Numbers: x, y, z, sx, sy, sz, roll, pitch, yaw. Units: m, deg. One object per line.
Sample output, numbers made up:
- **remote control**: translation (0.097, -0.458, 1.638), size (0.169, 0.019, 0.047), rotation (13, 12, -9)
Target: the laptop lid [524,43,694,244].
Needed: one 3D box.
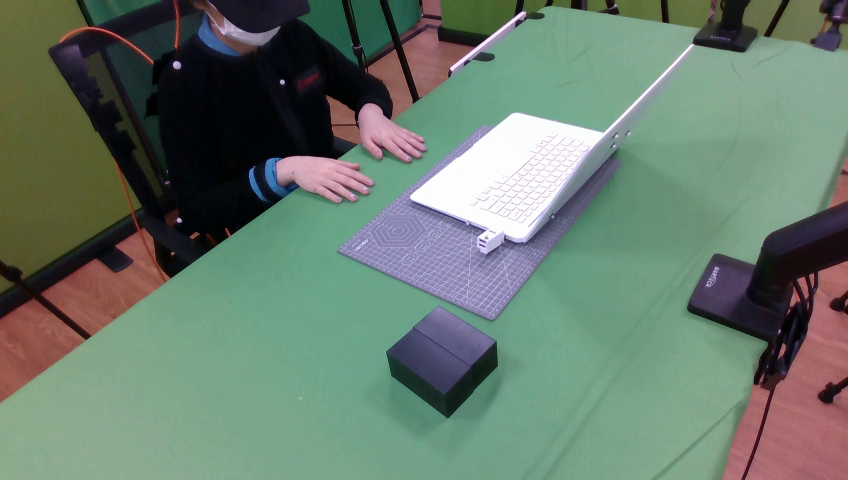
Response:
- **laptop lid**: translation (0.290, -0.151, 0.941), size (0.013, 0.241, 0.358), rotation (40, 54, 12)

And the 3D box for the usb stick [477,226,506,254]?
- **usb stick**: translation (0.107, -0.004, 0.933), size (0.021, 0.027, 0.059), rotation (25, 38, 35)

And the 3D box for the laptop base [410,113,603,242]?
- **laptop base**: translation (0.171, -0.127, 1.096), size (0.233, 0.023, 0.355), rotation (21, 47, 34)
